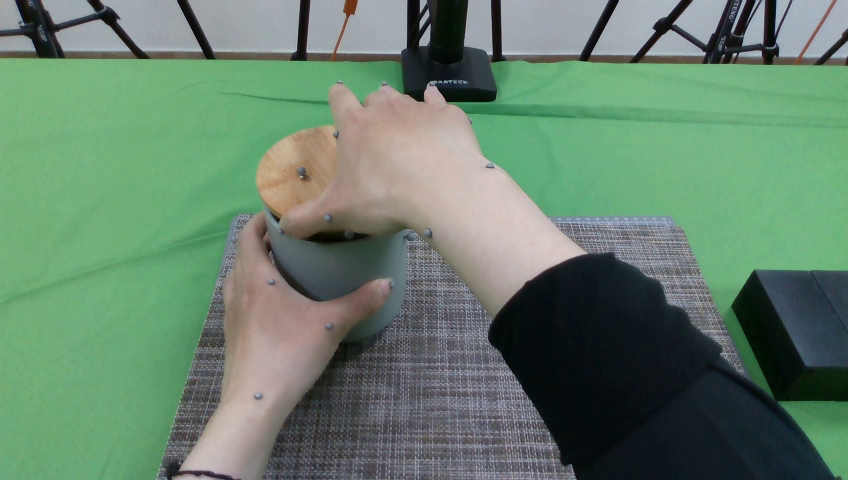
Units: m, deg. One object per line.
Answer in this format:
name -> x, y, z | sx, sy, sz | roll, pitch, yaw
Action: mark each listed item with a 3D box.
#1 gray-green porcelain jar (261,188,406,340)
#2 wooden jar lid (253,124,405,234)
gray-green porcelain jar -> -0.068, 0.010, 0.486 | 0.106, 0.127, 0.105 | 2, 45, -2
wooden jar lid -> -0.067, -0.044, 0.439 | 0.108, 0.021, 0.107 | 4, 49, -4
